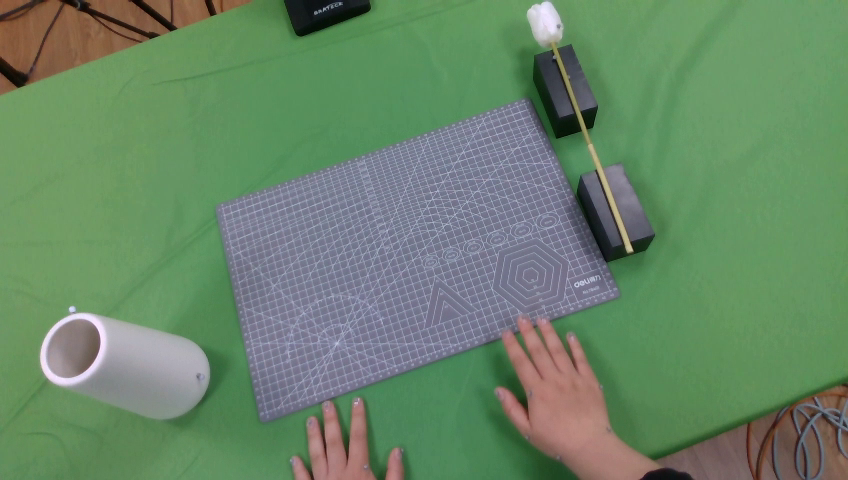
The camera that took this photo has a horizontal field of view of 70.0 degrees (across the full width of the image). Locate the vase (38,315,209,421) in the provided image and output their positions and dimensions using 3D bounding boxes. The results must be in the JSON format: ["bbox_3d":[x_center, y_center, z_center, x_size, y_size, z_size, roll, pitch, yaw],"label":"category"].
[{"bbox_3d":[-0.313,0.138,0.653,0.098,0.201,0.097,-2,68,6],"label":"vase"}]

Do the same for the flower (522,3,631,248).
[{"bbox_3d":[0.187,-0.150,0.742,0.044,0.038,0.358,0,63,-26],"label":"flower"}]
